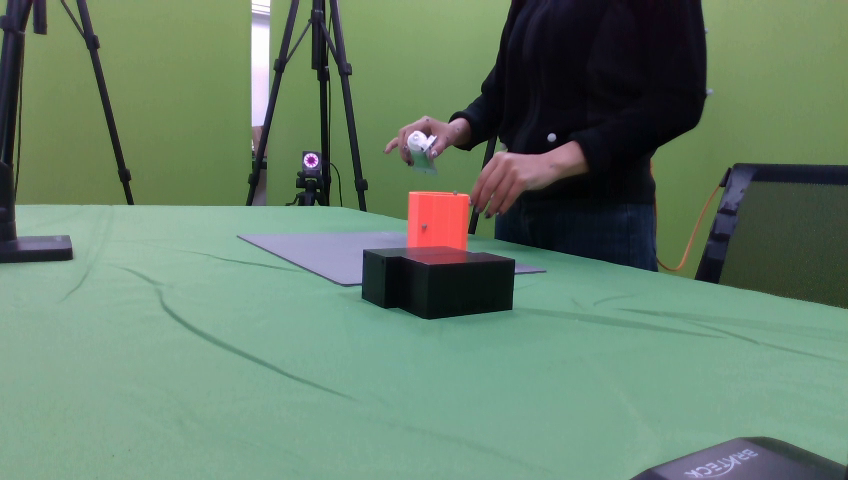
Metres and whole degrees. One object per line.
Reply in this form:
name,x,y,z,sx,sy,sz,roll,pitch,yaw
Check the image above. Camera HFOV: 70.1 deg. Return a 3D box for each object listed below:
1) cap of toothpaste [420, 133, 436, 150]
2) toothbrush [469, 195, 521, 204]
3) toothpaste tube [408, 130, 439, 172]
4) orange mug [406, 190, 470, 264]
cap of toothpaste,0.006,-0.166,1.012,0.011,0.037,0.037,43,2,-8
toothbrush,0.067,-0.066,0.989,0.181,0.016,0.014,-1,-2,15
toothpaste tube,-0.003,-0.158,1.101,0.055,0.034,0.165,17,-12,8
orange mug,0.027,-0.023,0.866,0.083,0.101,0.126,6,12,24
